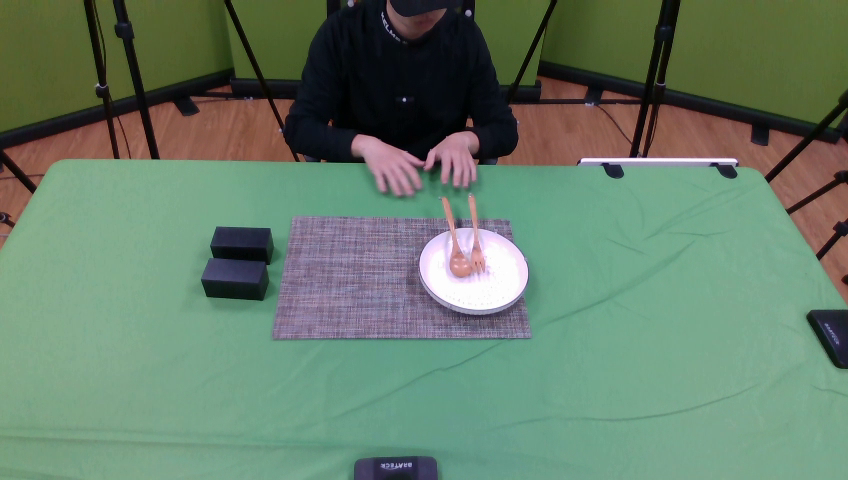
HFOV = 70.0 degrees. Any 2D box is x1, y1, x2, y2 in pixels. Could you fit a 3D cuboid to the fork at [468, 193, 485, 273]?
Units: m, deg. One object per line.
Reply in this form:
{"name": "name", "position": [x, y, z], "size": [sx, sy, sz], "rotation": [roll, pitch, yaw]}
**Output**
{"name": "fork", "position": [0.099, -0.017, 1.188], "size": [0.028, 0.019, 0.206], "rotation": [-1, 54, -1]}

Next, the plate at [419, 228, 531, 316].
{"name": "plate", "position": [0.093, 0.062, 1.131], "size": [0.208, 0.039, 0.206], "rotation": [2, 46, -2]}

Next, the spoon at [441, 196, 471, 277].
{"name": "spoon", "position": [0.056, -0.010, 1.176], "size": [0.041, 0.022, 0.192], "rotation": [-7, 60, -6]}
